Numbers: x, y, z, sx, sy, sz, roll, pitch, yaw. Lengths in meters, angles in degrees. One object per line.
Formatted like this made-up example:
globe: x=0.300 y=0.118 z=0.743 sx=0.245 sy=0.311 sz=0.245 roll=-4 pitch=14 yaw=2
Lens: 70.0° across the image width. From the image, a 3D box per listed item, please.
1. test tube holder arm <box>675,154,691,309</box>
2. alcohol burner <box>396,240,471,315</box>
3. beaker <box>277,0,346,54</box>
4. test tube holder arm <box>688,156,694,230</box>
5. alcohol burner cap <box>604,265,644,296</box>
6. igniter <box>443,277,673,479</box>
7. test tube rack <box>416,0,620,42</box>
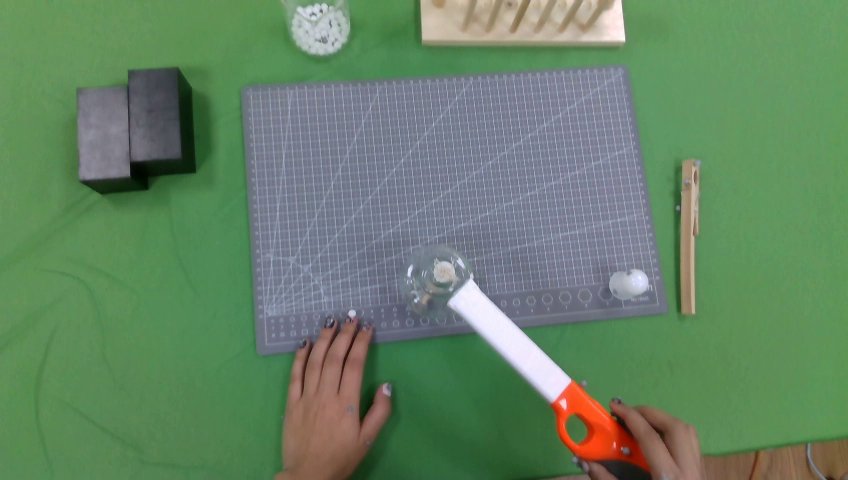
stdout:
test tube holder arm: x=0.296 y=-0.011 z=0.691 sx=0.013 sy=0.015 sz=0.178 roll=12 pitch=79 yaw=-38
alcohol burner: x=0.011 y=0.035 z=0.606 sx=0.078 sy=0.119 sz=0.077 roll=1 pitch=79 yaw=-6
beaker: x=-0.120 y=-0.251 z=0.652 sx=0.074 sy=0.100 sz=0.083 roll=-2 pitch=81 yaw=-6
test tube holder arm: x=0.304 y=-0.054 z=0.702 sx=0.010 sy=0.015 sz=0.087 roll=14 pitch=77 yaw=-38
alcohol burner cap: x=0.221 y=0.043 z=0.661 sx=0.034 sy=0.048 sz=0.033 roll=1 pitch=79 yaw=-5
igniter: x=0.124 y=0.141 z=0.541 sx=0.276 sy=0.025 sz=0.057 roll=45 pitch=77 yaw=0
test tube rack: x=0.115 y=-0.276 z=0.686 sx=0.243 sy=0.085 sz=0.066 roll=-1 pitch=81 yaw=-6
